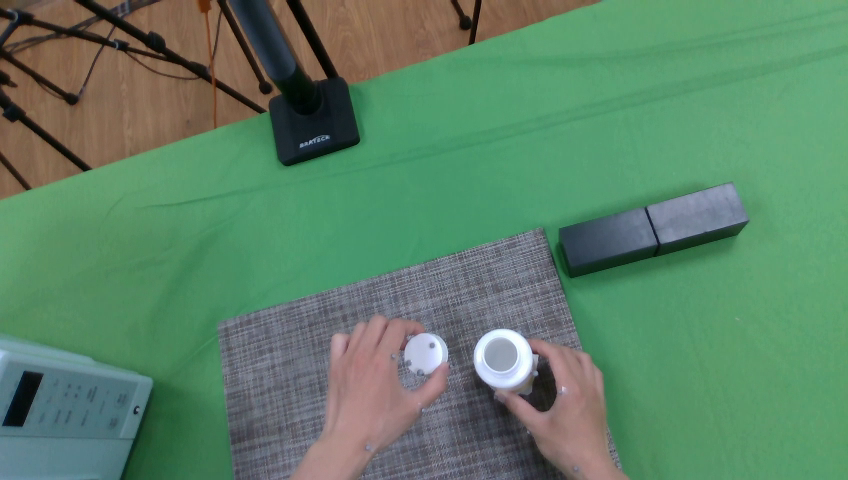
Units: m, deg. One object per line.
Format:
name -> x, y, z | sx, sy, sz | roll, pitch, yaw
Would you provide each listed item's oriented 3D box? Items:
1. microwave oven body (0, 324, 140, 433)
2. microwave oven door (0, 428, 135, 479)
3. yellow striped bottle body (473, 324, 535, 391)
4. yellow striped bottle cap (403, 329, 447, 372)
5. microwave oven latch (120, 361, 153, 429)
microwave oven body -> -0.576, 0.306, 0.671 | 0.325, 0.262, 0.439 | 11, 75, 14
microwave oven door -> -0.448, 0.369, 0.619 | 0.039, 0.246, 0.354 | 10, 75, 15
yellow striped bottle body -> 0.089, 0.130, 0.667 | 0.062, 0.121, 0.062 | -4, 71, 11
yellow striped bottle cap -> 0.001, 0.114, 0.627 | 0.044, 0.019, 0.044 | -5, 77, 22
microwave oven latch -> -0.373, 0.197, 0.769 | 0.030, 0.030, 0.079 | 13, 76, 15
